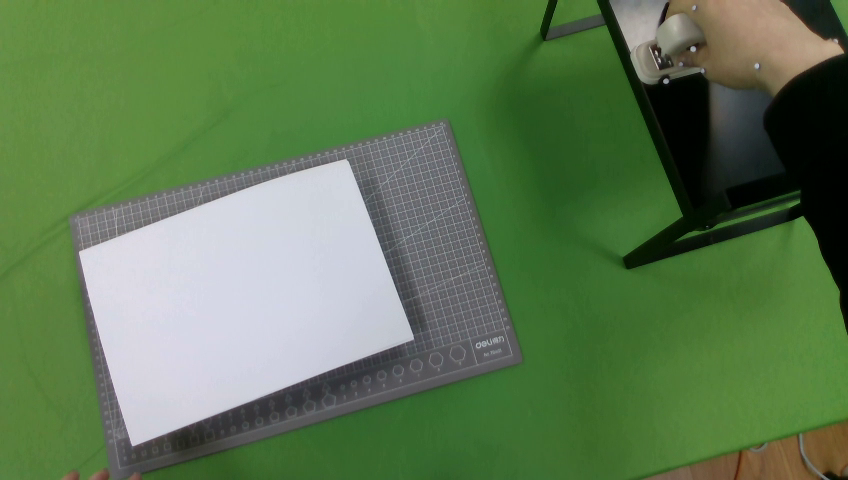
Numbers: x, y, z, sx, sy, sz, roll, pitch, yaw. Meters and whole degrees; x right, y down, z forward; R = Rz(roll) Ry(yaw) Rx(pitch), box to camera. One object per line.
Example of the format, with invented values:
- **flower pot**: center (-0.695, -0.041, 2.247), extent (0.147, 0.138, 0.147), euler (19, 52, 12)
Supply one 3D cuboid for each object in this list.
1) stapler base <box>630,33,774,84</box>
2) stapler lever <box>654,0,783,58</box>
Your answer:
- **stapler base**: center (0.251, -0.176, 0.539), extent (0.131, 0.024, 0.041), euler (-16, 79, -6)
- **stapler lever**: center (0.253, -0.182, 0.515), extent (0.118, 0.040, 0.026), euler (-16, 79, -6)
